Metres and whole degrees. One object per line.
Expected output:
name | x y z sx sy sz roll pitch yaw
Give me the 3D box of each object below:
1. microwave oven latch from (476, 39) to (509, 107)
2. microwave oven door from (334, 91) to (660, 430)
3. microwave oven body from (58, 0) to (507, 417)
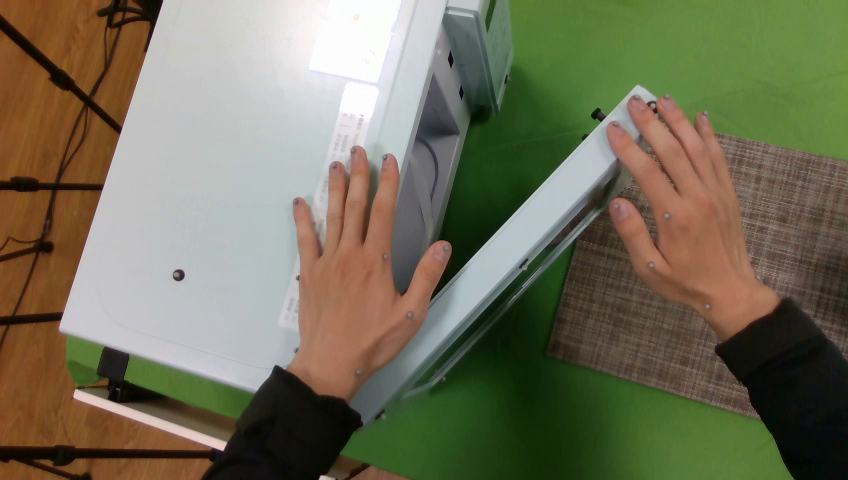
microwave oven latch | 0.081 -0.202 0.726 0.030 0.029 0.079 14 86 12
microwave oven door | 0.076 0.032 0.591 0.039 0.245 0.356 44 92 14
microwave oven body | -0.124 -0.080 0.649 0.325 0.261 0.441 14 86 12
